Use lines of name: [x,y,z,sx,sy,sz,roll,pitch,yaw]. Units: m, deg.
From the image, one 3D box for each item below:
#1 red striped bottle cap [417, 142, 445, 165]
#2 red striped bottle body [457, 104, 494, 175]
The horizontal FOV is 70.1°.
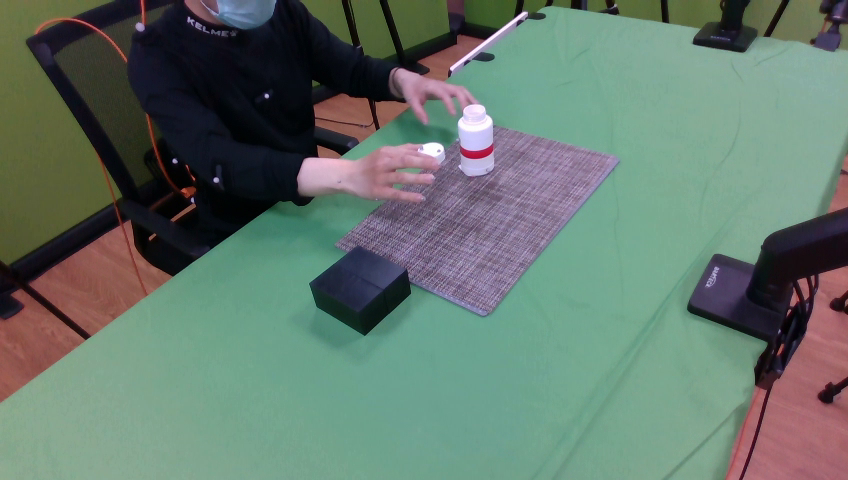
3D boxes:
red striped bottle cap: [0.011,-0.140,0.973,0.044,0.018,0.044,-6,40,5]
red striped bottle body: [0.093,-0.182,1.085,0.063,0.120,0.062,-4,41,4]
